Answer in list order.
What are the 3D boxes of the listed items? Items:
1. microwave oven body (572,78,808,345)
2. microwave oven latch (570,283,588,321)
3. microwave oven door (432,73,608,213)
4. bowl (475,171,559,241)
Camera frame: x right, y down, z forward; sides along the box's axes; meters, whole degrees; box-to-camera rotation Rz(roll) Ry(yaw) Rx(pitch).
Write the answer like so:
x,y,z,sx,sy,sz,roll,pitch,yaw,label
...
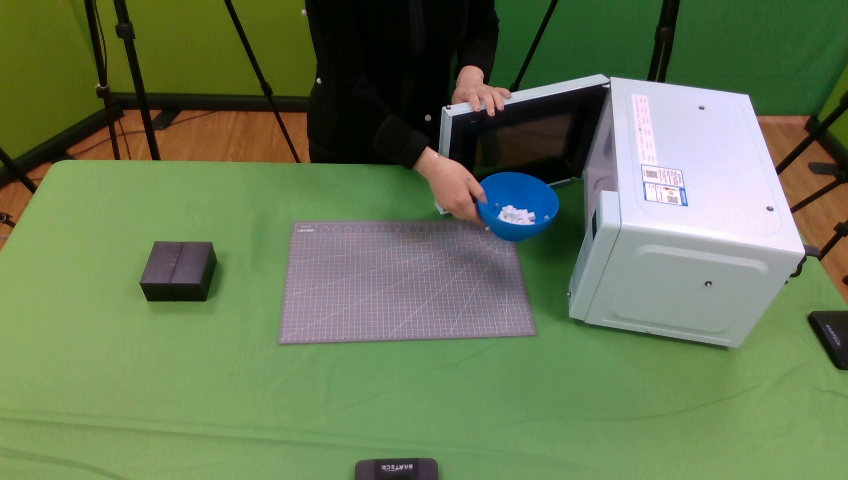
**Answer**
x,y,z,sx,sy,sz,roll,pitch,yaw,label
0.455,-0.063,1.125,0.326,0.261,0.439,8,45,5,microwave oven body
0.276,0.105,1.082,0.030,0.029,0.079,10,45,7,microwave oven latch
0.192,-0.195,1.225,0.356,0.245,0.039,-16,50,-18,microwave oven door
0.164,-0.051,1.109,0.151,0.077,0.150,3,44,-3,bowl
